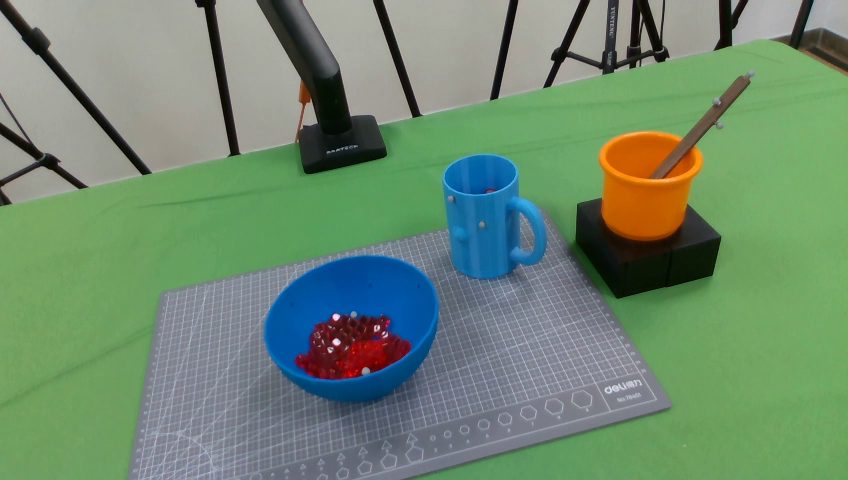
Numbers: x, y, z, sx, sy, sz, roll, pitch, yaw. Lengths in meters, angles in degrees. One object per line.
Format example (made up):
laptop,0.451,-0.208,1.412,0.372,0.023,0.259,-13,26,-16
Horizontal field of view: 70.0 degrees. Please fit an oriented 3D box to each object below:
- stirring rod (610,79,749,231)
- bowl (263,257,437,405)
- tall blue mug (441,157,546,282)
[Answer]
stirring rod,0.238,-0.077,0.570,0.176,0.006,0.014,-52,37,14
bowl,-0.058,0.093,0.538,0.151,0.077,0.150,-5,39,4
tall blue mug,0.075,-0.019,0.627,0.107,0.109,0.077,4,40,16
